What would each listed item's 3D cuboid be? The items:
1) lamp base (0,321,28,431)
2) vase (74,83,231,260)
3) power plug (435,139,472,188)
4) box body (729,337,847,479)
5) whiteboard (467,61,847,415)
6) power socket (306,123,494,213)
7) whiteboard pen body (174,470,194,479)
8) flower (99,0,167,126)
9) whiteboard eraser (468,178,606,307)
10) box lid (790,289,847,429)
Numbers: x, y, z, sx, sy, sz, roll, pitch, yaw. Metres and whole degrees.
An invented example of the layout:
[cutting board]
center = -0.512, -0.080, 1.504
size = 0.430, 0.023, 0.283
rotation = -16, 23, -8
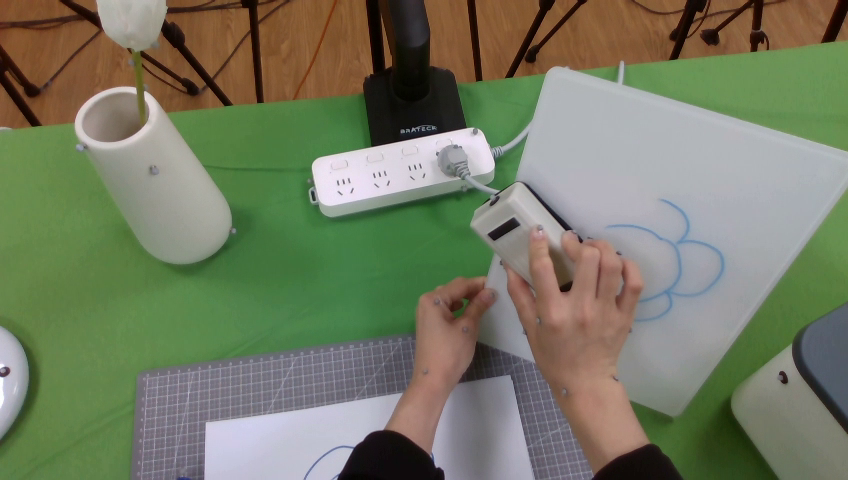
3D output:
[lamp base]
center = -0.476, 0.102, 0.514
size = 0.178, 0.182, 0.160
rotation = 22, 63, 14
[vase]
center = -0.262, -0.060, 0.596
size = 0.098, 0.201, 0.097
rotation = 0, 61, 1
[power plug]
center = 0.031, -0.081, 0.682
size = 0.035, 0.053, 0.072
rotation = -3, 68, -3
[box body]
center = 0.471, 0.201, 0.490
size = 0.254, 0.161, 0.360
rotation = -24, 65, -14
[whiteboard]
center = 0.190, -0.016, 0.556
size = 0.216, 0.308, 0.143
rotation = 20, 42, 11
[power socket]
center = -0.026, -0.085, 0.709
size = 0.227, 0.033, 0.071
rotation = -12, 63, -8
[whiteboard pen body]
center = -0.215, 0.270, 0.514
size = 0.017, 0.017, 0.139
rotation = 0, 64, -1
[flower]
center = -0.240, -0.095, 0.522
size = 0.038, 0.362, 0.044
rotation = 39, 58, 0
[whiteboard eraser]
center = 0.094, 0.002, 0.499
size = 0.113, 0.055, 0.041
rotation = 45, 40, -12
[box lid]
center = 0.471, 0.163, 0.425
size = 0.263, 0.015, 0.368
rotation = -24, 65, -13
